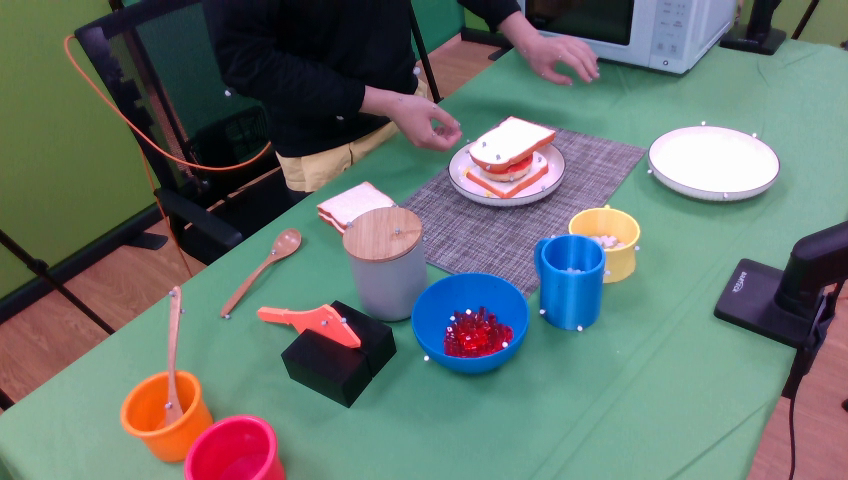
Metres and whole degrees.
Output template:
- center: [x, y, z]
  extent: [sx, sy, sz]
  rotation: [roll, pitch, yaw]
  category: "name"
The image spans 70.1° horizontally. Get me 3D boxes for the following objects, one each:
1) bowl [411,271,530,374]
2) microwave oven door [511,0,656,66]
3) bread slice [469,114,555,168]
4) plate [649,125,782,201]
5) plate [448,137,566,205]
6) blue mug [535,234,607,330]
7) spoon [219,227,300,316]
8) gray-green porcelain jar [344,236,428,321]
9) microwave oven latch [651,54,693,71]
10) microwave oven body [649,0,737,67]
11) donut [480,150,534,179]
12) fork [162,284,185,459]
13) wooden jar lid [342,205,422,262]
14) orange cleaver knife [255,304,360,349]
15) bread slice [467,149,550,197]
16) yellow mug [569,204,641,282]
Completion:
- center: [0.062, 0.120, 0.780]
  extent: [0.151, 0.077, 0.150]
  rotation: [-4, 40, 4]
  category: "bowl"
- center: [0.350, -0.539, 1.349]
  extent: [0.353, 0.245, 0.039]
  rotation: [24, 50, 31]
  category: "microwave oven door"
- center: [0.145, -0.168, 1.036]
  extent: [0.134, 0.018, 0.106]
  rotation: [-38, 43, -24]
  category: "bread slice"
- center: [0.493, -0.127, 1.036]
  extent: [0.207, 0.039, 0.206]
  rotation: [-4, 41, 4]
  category: "plate"
- center: [0.147, -0.124, 1.075]
  extent: [0.209, 0.038, 0.208]
  rotation: [-4, 41, 4]
  category: "plate"
- center: [0.191, 0.048, 0.824]
  extent: [0.082, 0.106, 0.115]
  rotation: [-26, 44, -20]
  category: "blue mug"
- center: [-0.261, 0.046, 0.954]
  extent: [0.041, 0.021, 0.194]
  rotation: [27, 48, 10]
  category: "spoon"
- center: [-0.049, 0.042, 0.849]
  extent: [0.106, 0.127, 0.105]
  rotation: [-4, 41, 4]
  category: "gray-green porcelain jar"
- center: [0.531, -0.386, 1.301]
  extent: [0.078, 0.029, 0.030]
  rotation: [26, 51, 33]
  category: "microwave oven latch"
- center: [0.475, -0.602, 1.411]
  extent: [0.438, 0.261, 0.327]
  rotation: [23, 50, 32]
  category: "microwave oven body"
- center: [0.143, -0.145, 1.058]
  extent: [0.099, 0.048, 0.098]
  rotation: [-3, 42, 3]
  category: "donut"
- center: [-0.303, 0.157, 0.733]
  extent: [0.028, 0.019, 0.207]
  rotation: [-3, 84, 16]
  category: "fork"
- center: [-0.055, -0.006, 0.808]
  extent: [0.108, 0.021, 0.108]
  rotation: [-6, 41, 6]
  category: "wooden jar lid"
- center: [-0.161, 0.115, 0.813]
  extent: [0.210, 0.077, 0.012]
  rotation: [-4, 32, 47]
  category: "orange cleaver knife"
- center: [0.156, -0.129, 1.083]
  extent: [0.132, 0.019, 0.104]
  rotation: [-33, 47, -25]
  category: "bread slice"
- center: [0.268, -0.005, 0.904]
  extent: [0.099, 0.064, 0.130]
  rotation: [7, 42, 15]
  category: "yellow mug"
